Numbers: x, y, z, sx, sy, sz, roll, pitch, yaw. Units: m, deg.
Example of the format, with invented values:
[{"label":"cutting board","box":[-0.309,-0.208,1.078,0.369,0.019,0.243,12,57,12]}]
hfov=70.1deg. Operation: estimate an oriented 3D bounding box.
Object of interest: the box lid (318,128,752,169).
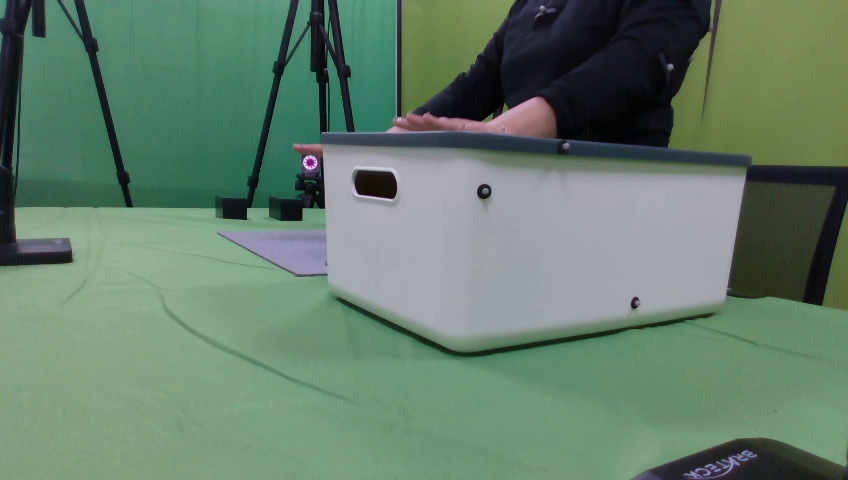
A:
[{"label":"box lid","box":[0.107,-0.085,0.593,0.373,0.015,0.262,-1,8,-34]}]

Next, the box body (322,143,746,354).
[{"label":"box body","box":[0.106,-0.012,0.603,0.366,0.160,0.253,-2,8,-34]}]
